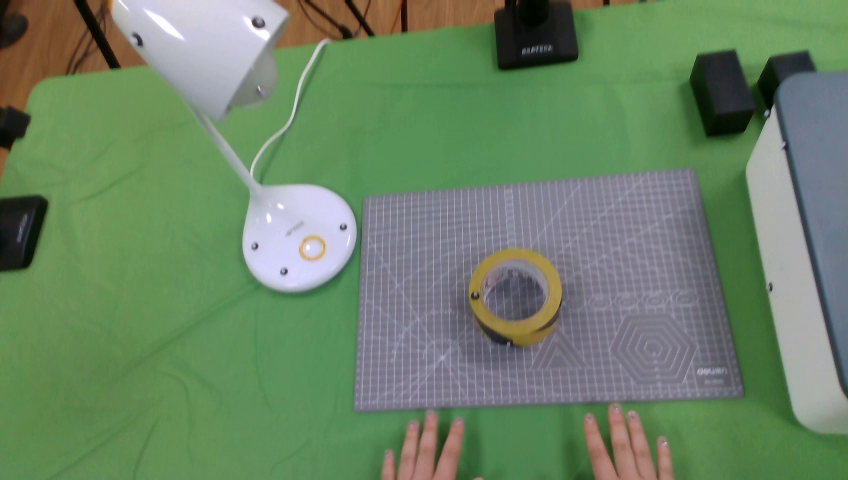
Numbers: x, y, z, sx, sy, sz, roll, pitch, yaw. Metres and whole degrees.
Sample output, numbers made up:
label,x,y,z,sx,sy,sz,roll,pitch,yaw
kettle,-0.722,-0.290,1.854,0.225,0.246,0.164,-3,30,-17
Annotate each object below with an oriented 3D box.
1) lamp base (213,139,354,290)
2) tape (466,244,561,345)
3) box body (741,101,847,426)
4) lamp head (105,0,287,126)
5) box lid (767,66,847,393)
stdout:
label,x,y,z,sx,sy,sz,roll,pitch,yaw
lamp base,-0.197,-0.045,0.774,0.178,0.182,0.160,33,74,25
tape,0.108,0.065,0.740,0.117,0.053,0.116,-3,64,7
box body,0.509,0.009,0.641,0.254,0.162,0.361,-2,64,9
lamp head,-0.193,-0.172,0.503,0.123,0.112,0.112,31,70,-14
box lid,0.498,-0.025,0.576,0.263,0.015,0.368,-2,65,8
